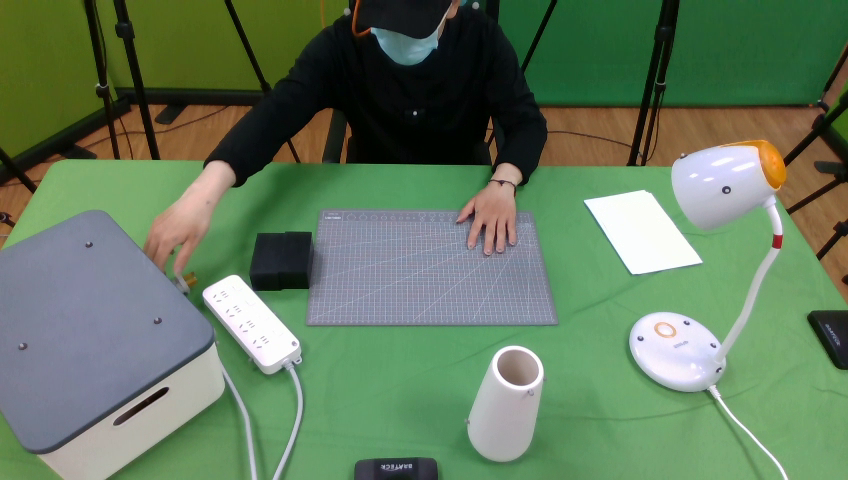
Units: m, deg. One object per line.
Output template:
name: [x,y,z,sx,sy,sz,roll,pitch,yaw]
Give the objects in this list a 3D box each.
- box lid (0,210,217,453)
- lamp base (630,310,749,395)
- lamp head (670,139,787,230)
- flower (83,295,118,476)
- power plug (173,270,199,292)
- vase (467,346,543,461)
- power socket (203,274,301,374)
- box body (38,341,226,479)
box lid: [-0.502,0.102,0.865,0.369,0.015,0.263,36,54,27]
lamp base: [0.447,0.143,0.984,0.161,0.181,0.178,-24,55,-24]
lamp head: [0.415,-0.078,0.812,0.113,0.123,0.112,13,70,-37]
flower: [-0.513,0.210,0.960,0.044,0.038,0.359,5,35,-32]
power plug: [-0.419,0.090,1.082,0.052,0.035,0.072,-31,84,-18]
vase: [0.116,0.235,0.861,0.098,0.201,0.097,1,47,-1]
power socket: [-0.296,0.140,1.035,0.072,0.033,0.225,-32,57,-29]
box body: [-0.504,0.154,0.917,0.362,0.161,0.254,36,54,27]
